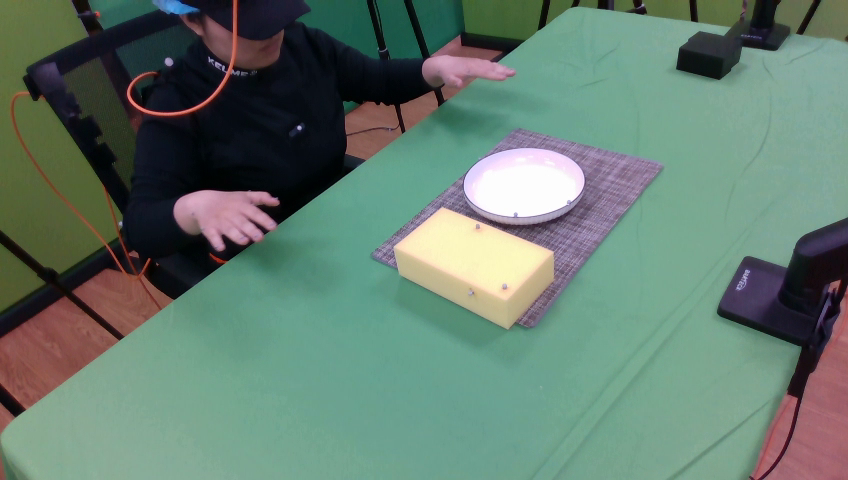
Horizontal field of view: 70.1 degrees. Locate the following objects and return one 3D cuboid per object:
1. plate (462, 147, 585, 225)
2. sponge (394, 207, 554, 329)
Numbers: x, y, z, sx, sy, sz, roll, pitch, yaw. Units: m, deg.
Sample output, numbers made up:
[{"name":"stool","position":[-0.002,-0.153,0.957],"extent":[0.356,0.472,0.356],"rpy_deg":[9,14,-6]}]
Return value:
[{"name":"plate","position":[0.170,-0.089,1.041],"extent":[0.207,0.039,0.206],"rpy_deg":[-5,40,5]},{"name":"sponge","position":[0.073,0.035,0.895],"extent":[0.205,0.061,0.118],"rpy_deg":[24,50,33]}]
